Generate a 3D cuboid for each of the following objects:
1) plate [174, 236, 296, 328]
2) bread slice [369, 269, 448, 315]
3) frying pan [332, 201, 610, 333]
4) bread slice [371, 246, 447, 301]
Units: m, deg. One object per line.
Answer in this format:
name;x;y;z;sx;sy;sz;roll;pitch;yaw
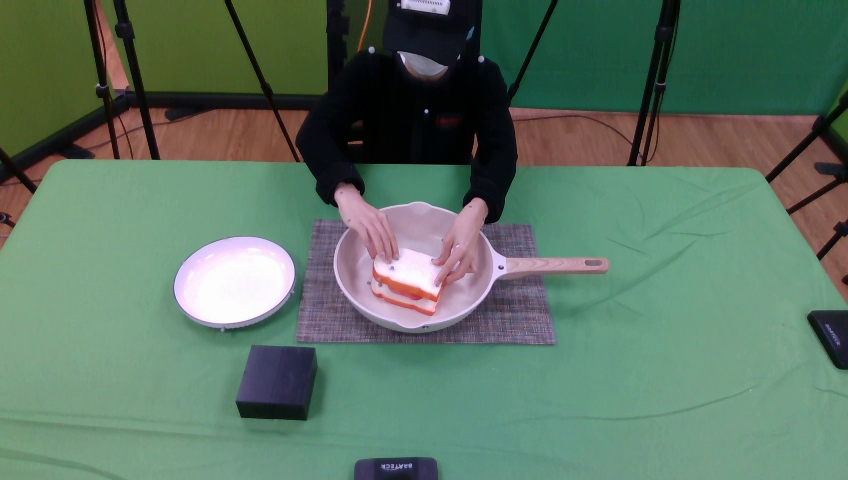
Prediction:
plate;-0.335;0.077;1.087;0.208;0.039;0.206;2;46;-2
bread slice;-0.031;0.082;1.110;0.134;0.018;0.106;12;44;6
frying pan;0.085;0.052;1.093;0.488;0.103;0.305;-1;46;6
bread slice;-0.029;0.054;1.073;0.131;0.019;0.104;16;37;1
